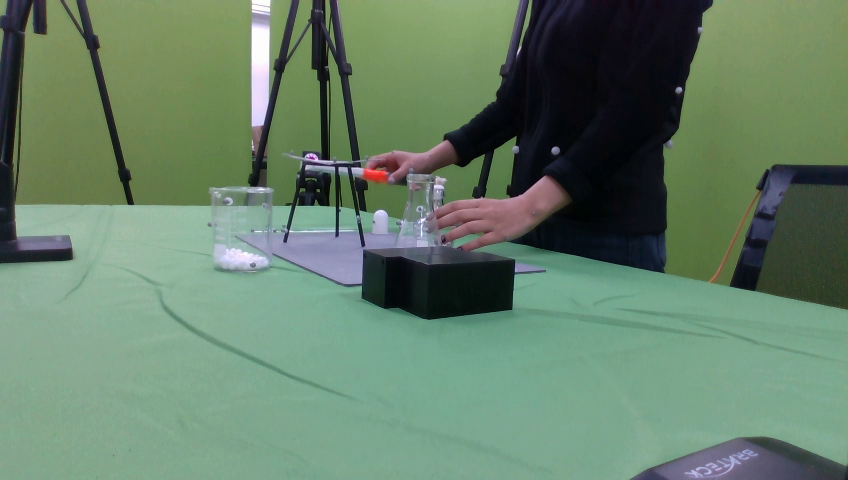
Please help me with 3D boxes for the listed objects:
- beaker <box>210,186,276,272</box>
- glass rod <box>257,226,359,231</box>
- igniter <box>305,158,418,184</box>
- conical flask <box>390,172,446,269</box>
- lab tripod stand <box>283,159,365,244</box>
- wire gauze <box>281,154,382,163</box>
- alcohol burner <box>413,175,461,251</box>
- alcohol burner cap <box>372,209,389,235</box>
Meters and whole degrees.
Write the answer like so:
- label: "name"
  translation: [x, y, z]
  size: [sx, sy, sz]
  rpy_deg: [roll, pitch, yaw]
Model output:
- label: "beaker"
  translation: [-0.224, -0.014, 0.738]
  size: [0.084, 0.100, 0.074]
  rpy_deg: [4, 7, 16]
- label: "glass rod"
  translation: [-0.216, -0.022, 1.151]
  size: [0.201, 0.008, 0.008]
  rpy_deg: [-2, 8, -28]
- label: "igniter"
  translation: [-0.117, -0.137, 1.214]
  size: [0.057, 0.025, 0.278]
  rpy_deg: [3, 0, 43]
- label: "conical flask"
  translation: [-0.006, -0.027, 0.790]
  size: [0.075, 0.122, 0.075]
  rpy_deg: [2, 7, 0]
- label: "lab tripod stand"
  translation: [-0.151, -0.063, 0.983]
  size: [0.148, 0.131, 0.148]
  rpy_deg: [4, 7, 0]
- label: "wire gauze"
  translation: [-0.146, -0.130, 0.977]
  size: [0.124, 0.011, 0.122]
  rpy_deg: [9, 10, 41]
- label: "alcohol burner"
  translation: [0.021, -0.043, 0.957]
  size: [0.078, 0.119, 0.078]
  rpy_deg: [1, 6, 0]
- label: "alcohol burner cap"
  translation: [-0.082, -0.035, 1.143]
  size: [0.034, 0.048, 0.034]
  rpy_deg: [3, 7, 0]
